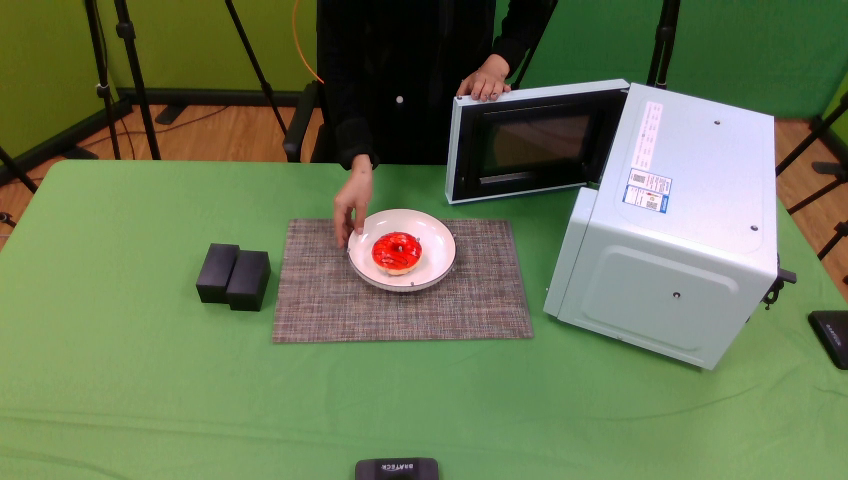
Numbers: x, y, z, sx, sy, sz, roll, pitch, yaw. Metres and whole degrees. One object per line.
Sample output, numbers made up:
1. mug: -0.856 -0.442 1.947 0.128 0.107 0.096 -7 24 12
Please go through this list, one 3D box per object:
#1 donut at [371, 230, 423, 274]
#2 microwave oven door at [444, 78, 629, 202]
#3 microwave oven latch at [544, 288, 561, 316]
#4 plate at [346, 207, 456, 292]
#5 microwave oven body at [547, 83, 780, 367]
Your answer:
1. donut: -0.050 0.021 1.142 0.099 0.048 0.098 0 45 0
2. microwave oven door: 0.223 -0.201 1.231 0.356 0.245 0.039 -9 48 -12
3. microwave oven latch: 0.237 0.098 1.087 0.030 0.029 0.079 17 47 14
4. plate: -0.044 0.020 1.158 0.209 0.038 0.208 2 47 -2
5. microwave oven body: 0.445 -0.041 1.101 0.325 0.261 0.440 17 47 13
